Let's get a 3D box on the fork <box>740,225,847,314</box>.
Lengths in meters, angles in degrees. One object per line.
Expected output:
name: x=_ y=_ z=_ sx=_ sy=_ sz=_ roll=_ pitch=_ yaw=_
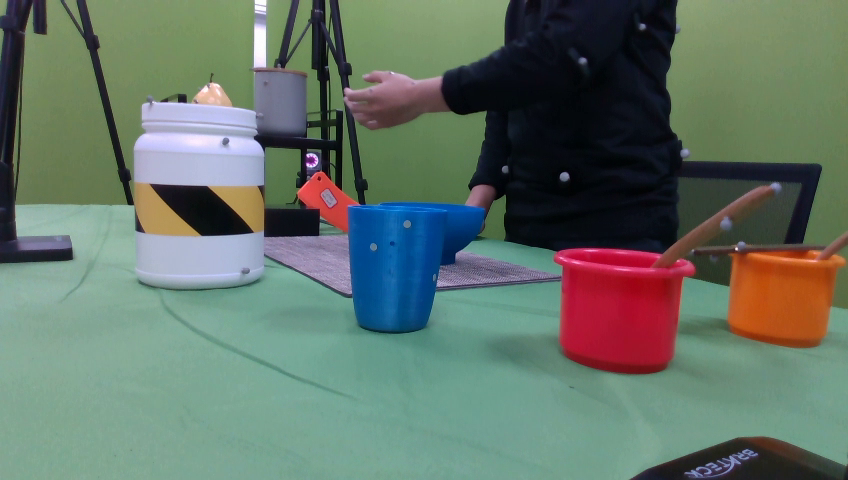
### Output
fork: x=0.323 y=0.013 z=0.485 sx=0.028 sy=0.018 sz=0.207 roll=8 pitch=-38 yaw=-6

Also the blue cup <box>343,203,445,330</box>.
blue cup: x=-0.027 y=0.021 z=0.510 sx=0.093 sy=0.100 sz=0.092 roll=3 pitch=5 yaw=0

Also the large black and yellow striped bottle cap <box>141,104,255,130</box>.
large black and yellow striped bottle cap: x=-0.241 y=-0.131 z=0.650 sx=0.115 sy=0.019 sz=0.115 roll=3 pitch=8 yaw=0

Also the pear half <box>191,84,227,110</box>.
pear half: x=-0.405 y=-0.248 z=1.128 sx=0.070 sy=0.088 sz=0.031 roll=6 pitch=6 yaw=2

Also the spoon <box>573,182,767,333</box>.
spoon: x=0.158 y=0.020 z=0.412 sx=0.042 sy=0.021 sz=0.193 roll=-2 pitch=-35 yaw=-21

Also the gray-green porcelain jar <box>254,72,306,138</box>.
gray-green porcelain jar: x=-0.299 y=-0.277 z=1.257 sx=0.106 sy=0.126 sz=0.106 roll=2 pitch=8 yaw=0

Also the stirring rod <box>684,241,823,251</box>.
stirring rod: x=0.289 y=0.005 z=0.525 sx=0.177 sy=0.006 sz=0.014 roll=-1 pitch=5 yaw=-26

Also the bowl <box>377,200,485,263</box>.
bowl: x=0.008 y=-0.012 z=0.842 sx=0.151 sy=0.077 sz=0.151 roll=2 pitch=7 yaw=0

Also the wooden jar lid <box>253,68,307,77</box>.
wooden jar lid: x=-0.296 y=-0.339 z=1.250 sx=0.108 sy=0.020 sz=0.108 roll=3 pitch=10 yaw=0

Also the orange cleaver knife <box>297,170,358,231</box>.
orange cleaver knife: x=-0.149 y=-0.058 z=1.170 sx=0.212 sy=0.077 sz=0.012 roll=33 pitch=-15 yaw=-32

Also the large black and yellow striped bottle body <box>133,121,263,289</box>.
large black and yellow striped bottle body: x=-0.243 y=-0.048 z=0.659 sx=0.131 sy=0.184 sz=0.130 roll=2 pitch=7 yaw=0

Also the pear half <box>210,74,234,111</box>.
pear half: x=-0.401 y=-0.262 z=1.162 sx=0.076 sy=0.109 sz=0.056 roll=7 pitch=7 yaw=2
